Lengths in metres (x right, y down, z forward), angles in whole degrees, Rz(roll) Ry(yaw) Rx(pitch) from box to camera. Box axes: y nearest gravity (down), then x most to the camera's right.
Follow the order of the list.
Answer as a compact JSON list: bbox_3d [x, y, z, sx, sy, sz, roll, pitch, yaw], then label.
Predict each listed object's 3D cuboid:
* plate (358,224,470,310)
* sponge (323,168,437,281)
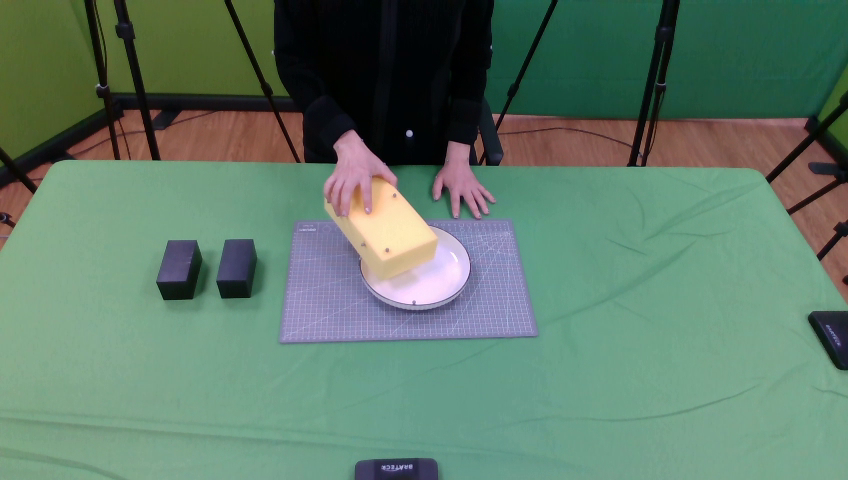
[{"bbox_3d":[-0.019,0.052,1.132,0.209,0.038,0.208,2,46,-2],"label":"plate"},{"bbox_3d":[-0.085,-0.033,1.113,0.118,0.061,0.205,-24,57,-27],"label":"sponge"}]
